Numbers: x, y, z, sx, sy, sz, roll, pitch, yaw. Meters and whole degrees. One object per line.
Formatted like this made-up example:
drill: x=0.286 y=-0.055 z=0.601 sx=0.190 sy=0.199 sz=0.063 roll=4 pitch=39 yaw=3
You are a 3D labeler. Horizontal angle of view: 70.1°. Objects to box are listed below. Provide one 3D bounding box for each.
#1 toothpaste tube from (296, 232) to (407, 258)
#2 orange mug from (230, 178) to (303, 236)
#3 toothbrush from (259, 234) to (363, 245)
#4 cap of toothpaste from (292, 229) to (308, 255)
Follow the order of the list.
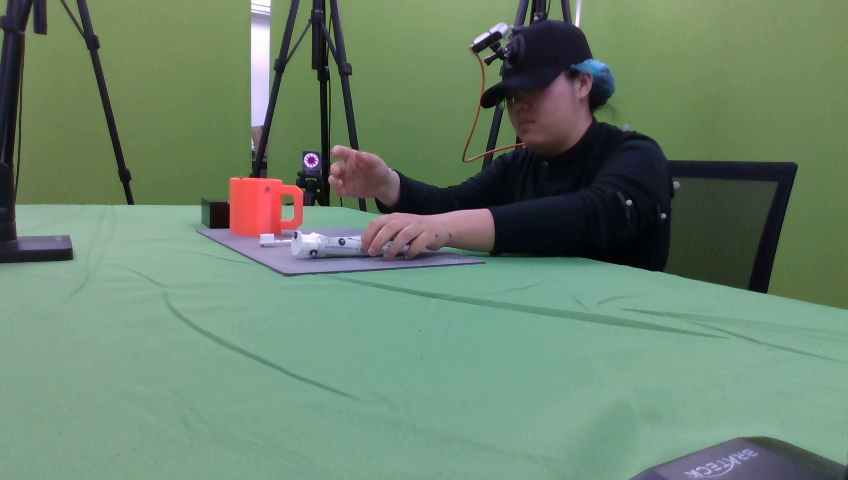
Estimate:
toothpaste tube: x=-0.103 y=0.010 z=0.854 sx=0.166 sy=0.034 sz=0.055 roll=5 pitch=10 yaw=-39
orange mug: x=-0.275 y=-0.060 z=1.058 sx=0.126 sy=0.101 sz=0.083 roll=-2 pitch=8 yaw=-5
toothbrush: x=-0.175 y=-0.002 z=0.958 sx=0.183 sy=0.016 sz=0.014 roll=-1 pitch=-6 yaw=-39
cap of toothpaste: x=-0.166 y=0.004 z=0.807 sx=0.011 sy=0.037 sz=0.037 roll=8 pitch=3 yaw=-34
